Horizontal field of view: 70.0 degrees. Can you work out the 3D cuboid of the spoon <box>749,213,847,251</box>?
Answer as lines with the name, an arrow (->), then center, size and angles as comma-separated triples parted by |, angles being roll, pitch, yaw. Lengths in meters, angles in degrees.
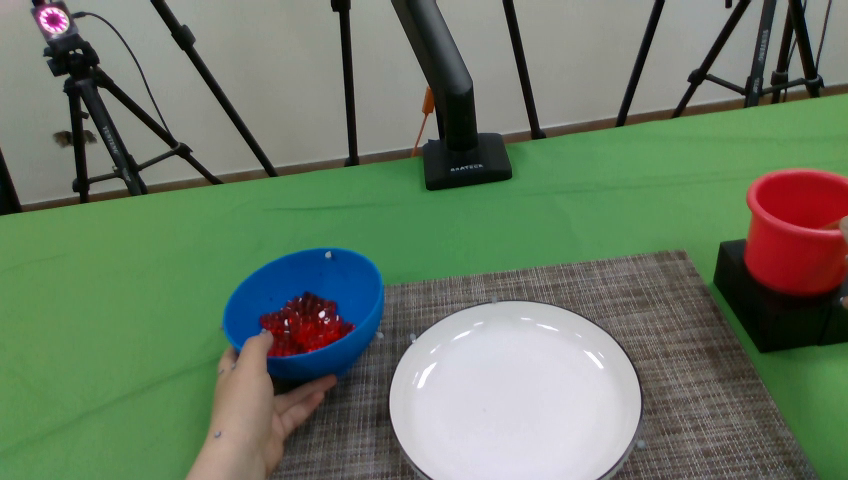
spoon -> 0.334, -0.013, 0.477 | 0.042, 0.194, 0.021 | -22, 84, -14

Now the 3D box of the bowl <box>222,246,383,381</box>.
bowl -> -0.107, 0.082, 0.585 | 0.151, 0.077, 0.150 | -6, 37, 5

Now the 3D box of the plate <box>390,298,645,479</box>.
plate -> 0.077, 0.132, 0.513 | 0.207, 0.039, 0.205 | -6, 37, 5
